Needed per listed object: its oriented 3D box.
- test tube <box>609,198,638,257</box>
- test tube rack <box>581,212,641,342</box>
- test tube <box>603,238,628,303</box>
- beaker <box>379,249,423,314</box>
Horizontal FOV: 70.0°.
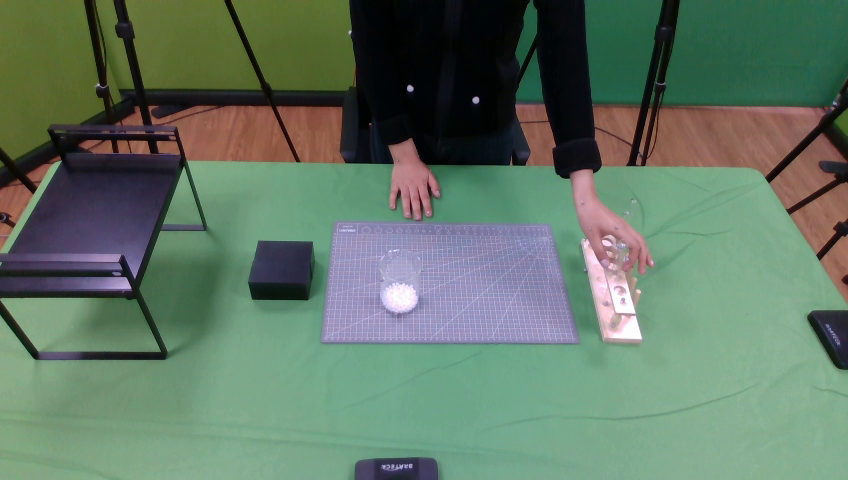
[{"bbox_3d":[0.375,-0.021,1.141,0.017,0.151,0.017,2,45,-2],"label":"test tube"},{"bbox_3d":[0.351,0.063,1.121,0.067,0.085,0.241,3,46,-1],"label":"test tube rack"},{"bbox_3d":[0.334,0.056,1.059,0.017,0.151,0.017,0,41,0],"label":"test tube"},{"bbox_3d":[-0.044,0.074,1.066,0.074,0.101,0.083,-22,51,-23],"label":"beaker"}]
